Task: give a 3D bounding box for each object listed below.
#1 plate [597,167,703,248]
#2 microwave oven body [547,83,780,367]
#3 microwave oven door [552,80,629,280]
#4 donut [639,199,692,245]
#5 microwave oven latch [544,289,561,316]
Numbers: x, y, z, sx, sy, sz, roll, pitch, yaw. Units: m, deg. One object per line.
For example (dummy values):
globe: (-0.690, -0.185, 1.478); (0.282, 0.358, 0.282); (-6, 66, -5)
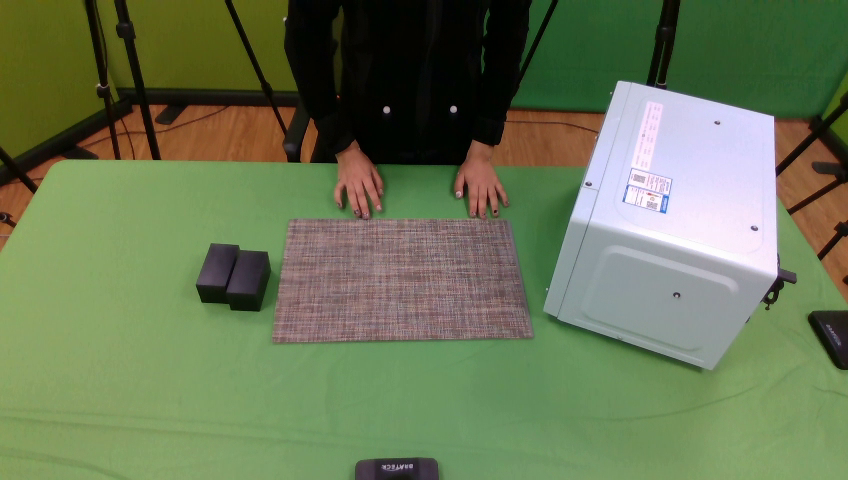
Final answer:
plate: (0.432, -0.060, 1.177); (0.209, 0.038, 0.208); (7, 47, -7)
microwave oven body: (0.445, -0.041, 1.101); (0.325, 0.261, 0.440); (17, 47, 13)
microwave oven door: (0.324, -0.116, 1.156); (0.039, 0.245, 0.354); (18, 48, 13)
donut: (0.461, -0.035, 1.159); (0.099, 0.048, 0.098); (2, 62, -3)
microwave oven latch: (0.237, 0.098, 1.087); (0.030, 0.029, 0.079); (17, 47, 14)
